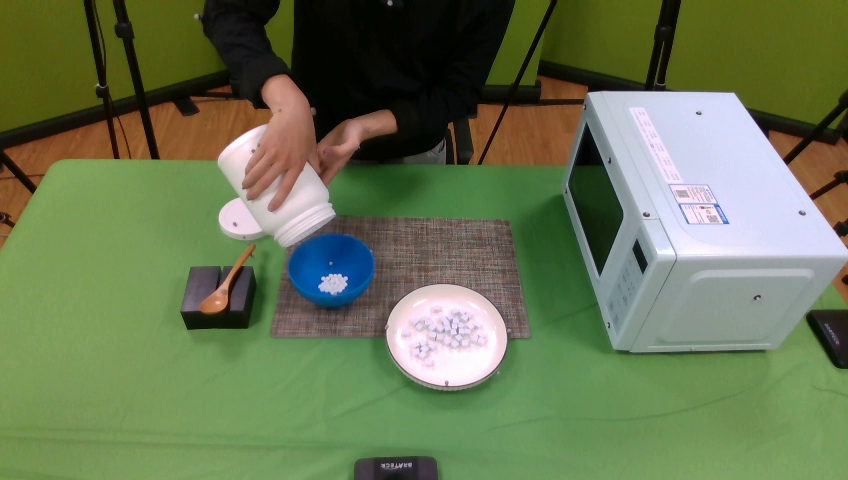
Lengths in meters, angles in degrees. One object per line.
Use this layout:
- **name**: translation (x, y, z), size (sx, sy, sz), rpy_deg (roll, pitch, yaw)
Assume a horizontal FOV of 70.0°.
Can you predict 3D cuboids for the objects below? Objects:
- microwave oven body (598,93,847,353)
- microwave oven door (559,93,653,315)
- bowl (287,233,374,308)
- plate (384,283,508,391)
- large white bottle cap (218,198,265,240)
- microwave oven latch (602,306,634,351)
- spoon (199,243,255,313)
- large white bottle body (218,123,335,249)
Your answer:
- **microwave oven body**: translation (0.475, -0.041, 1.109), size (0.326, 0.261, 0.438), rpy_deg (-1, 45, -4)
- **microwave oven door**: translation (0.327, -0.074, 1.123), size (0.039, 0.245, 0.353), rpy_deg (-1, 46, -5)
- **bowl**: translation (-0.164, 0.068, 1.078), size (0.151, 0.077, 0.150), rpy_deg (3, 46, -2)
- **plate**: translation (0.036, 0.165, 1.028), size (0.209, 0.038, 0.208), rpy_deg (2, 49, -2)
- **large white bottle cap**: translation (-0.355, -0.045, 1.220), size (0.115, 0.018, 0.114), rpy_deg (2, 45, -2)
- **microwave oven latch**: translation (0.332, 0.153, 1.044), size (0.030, 0.029, 0.078), rpy_deg (0, 45, -4)
- **spoon**: translation (-0.334, 0.062, 1.052), size (0.041, 0.022, 0.193), rpy_deg (8, 40, 7)
- **large white bottle body**: translation (-0.246, -0.089, 1.033), size (0.130, 0.130, 0.184), rpy_deg (-34, 92, -32)
